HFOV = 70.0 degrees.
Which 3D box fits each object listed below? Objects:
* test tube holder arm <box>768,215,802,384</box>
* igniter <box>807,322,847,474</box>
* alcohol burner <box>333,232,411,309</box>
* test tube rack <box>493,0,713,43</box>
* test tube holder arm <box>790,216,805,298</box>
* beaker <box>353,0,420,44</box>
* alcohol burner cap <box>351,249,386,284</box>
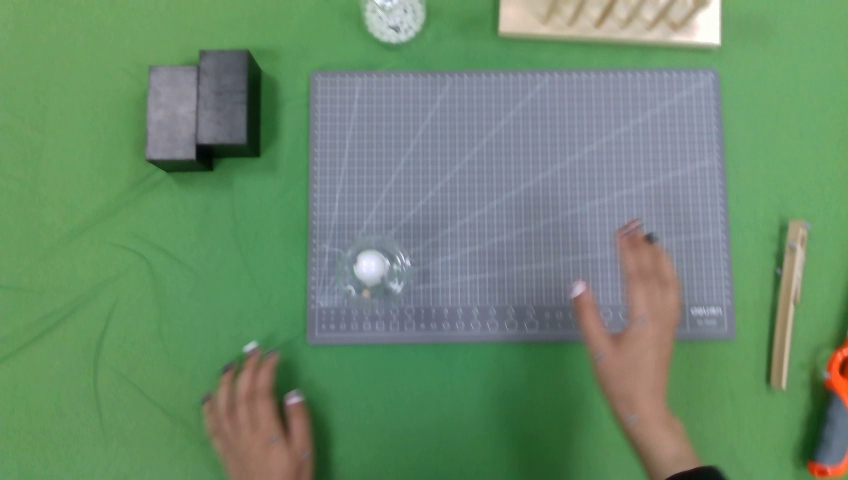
[{"bbox_3d":[0.378,0.061,0.635,0.013,0.015,0.178,14,83,-29],"label":"test tube holder arm"},{"bbox_3d":[0.449,0.110,0.628,0.057,0.025,0.276,20,84,-8],"label":"igniter"},{"bbox_3d":[-0.052,0.028,0.587,0.078,0.119,0.077,0,82,-2],"label":"alcohol burner"},{"bbox_3d":[0.199,-0.263,0.640,0.242,0.085,0.066,3,83,0],"label":"test tube rack"},{"bbox_3d":[0.391,0.018,0.643,0.010,0.015,0.087,15,82,-29],"label":"test tube holder arm"},{"bbox_3d":[-0.040,-0.254,0.629,0.074,0.100,0.083,2,83,0],"label":"beaker"},{"bbox_3d":[-0.052,0.025,0.551,0.034,0.048,0.034,0,88,-2],"label":"alcohol burner cap"}]
